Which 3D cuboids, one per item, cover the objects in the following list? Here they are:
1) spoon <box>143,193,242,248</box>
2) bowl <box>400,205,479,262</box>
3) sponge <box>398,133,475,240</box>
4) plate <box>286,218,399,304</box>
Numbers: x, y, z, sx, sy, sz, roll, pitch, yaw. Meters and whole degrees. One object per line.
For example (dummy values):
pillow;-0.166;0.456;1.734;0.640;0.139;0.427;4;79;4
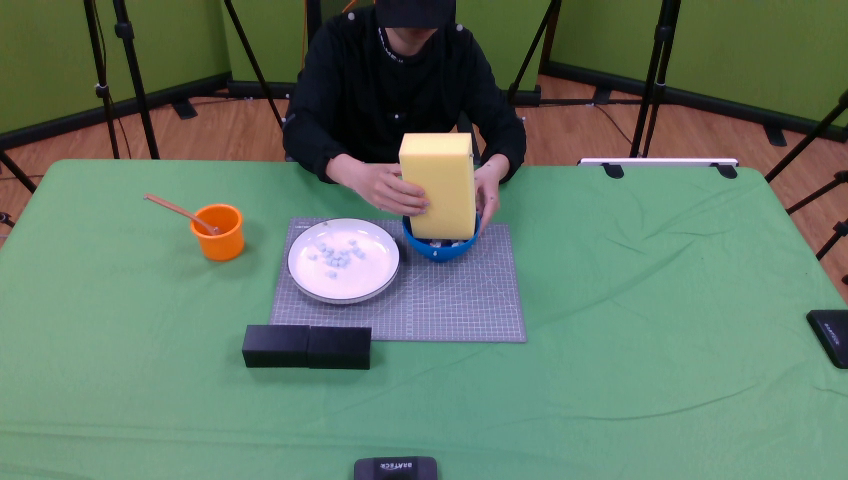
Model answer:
spoon;-0.421;-0.037;1.113;0.021;0.195;0.041;-37;37;23
bowl;0.029;-0.011;1.168;0.151;0.077;0.150;1;45;-1
sponge;0.028;-0.092;1.089;0.118;0.208;0.060;3;47;10
plate;-0.150;0.041;1.131;0.209;0.038;0.208;2;45;-2
